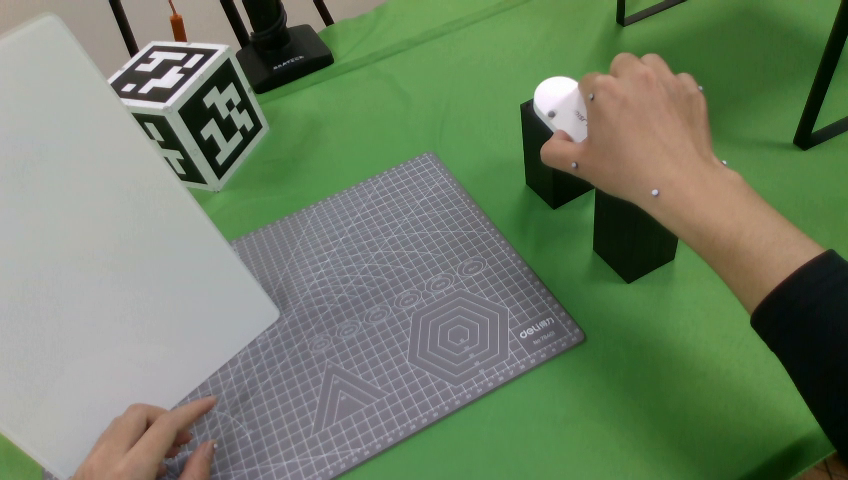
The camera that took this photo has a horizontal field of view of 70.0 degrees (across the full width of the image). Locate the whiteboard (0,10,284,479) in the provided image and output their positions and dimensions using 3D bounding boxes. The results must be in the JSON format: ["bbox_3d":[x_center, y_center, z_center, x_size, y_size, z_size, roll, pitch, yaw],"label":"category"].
[{"bbox_3d":[-0.307,0.009,0.503,0.217,0.308,0.142,-42,33,-22],"label":"whiteboard"}]

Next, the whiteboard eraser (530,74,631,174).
[{"bbox_3d":[0.125,-0.096,0.491,0.041,0.019,0.100,-33,67,-9],"label":"whiteboard eraser"}]
